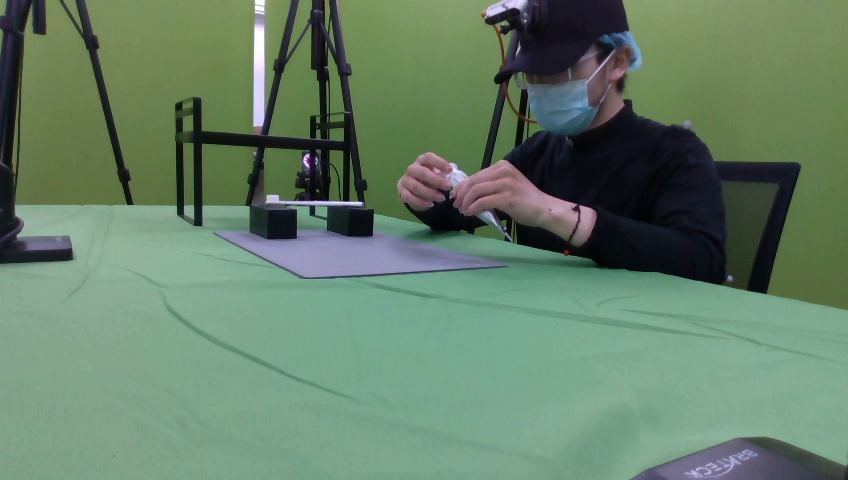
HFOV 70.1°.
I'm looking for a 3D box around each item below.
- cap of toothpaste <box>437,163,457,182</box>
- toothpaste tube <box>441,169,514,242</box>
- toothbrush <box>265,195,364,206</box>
[{"bbox_3d":[0.039,-0.104,0.947,0.037,0.037,0.011,-3,39,-37],"label":"cap of toothpaste"},{"bbox_3d":[0.076,-0.058,0.896,0.055,0.034,0.164,32,14,-50],"label":"toothpaste tube"},{"bbox_3d":[-0.194,-0.069,1.089,0.183,0.016,0.014,0,-8,-27],"label":"toothbrush"}]
